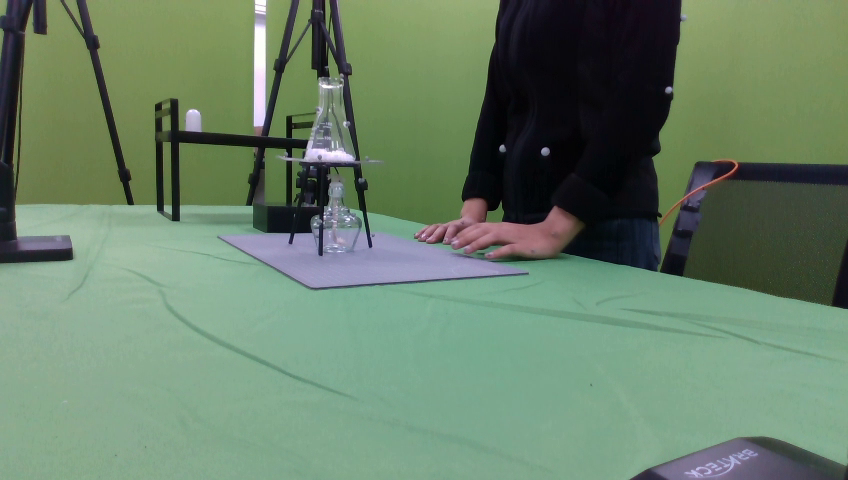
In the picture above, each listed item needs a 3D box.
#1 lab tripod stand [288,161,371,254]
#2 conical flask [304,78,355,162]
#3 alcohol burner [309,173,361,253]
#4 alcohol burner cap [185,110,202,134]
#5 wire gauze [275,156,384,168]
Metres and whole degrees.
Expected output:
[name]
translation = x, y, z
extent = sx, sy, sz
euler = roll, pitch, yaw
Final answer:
[lab tripod stand]
translation = -0.148, -0.052, 0.909
extent = 0.148, 0.131, 0.148
euler = 1, 8, 0
[conical flask]
translation = -0.139, -0.175, 0.893
extent = 0.075, 0.122, 0.075
euler = 2, 8, 0
[alcohol burner]
translation = -0.132, -0.041, 0.900
extent = 0.078, 0.119, 0.078
euler = 1, 6, 0
[alcohol burner cap]
translation = -0.470, -0.242, 1.234
extent = 0.034, 0.048, 0.034
euler = 4, 8, 0
[wire gauze]
translation = -0.142, -0.116, 0.900
extent = 0.122, 0.011, 0.124
euler = -1, 5, -37
